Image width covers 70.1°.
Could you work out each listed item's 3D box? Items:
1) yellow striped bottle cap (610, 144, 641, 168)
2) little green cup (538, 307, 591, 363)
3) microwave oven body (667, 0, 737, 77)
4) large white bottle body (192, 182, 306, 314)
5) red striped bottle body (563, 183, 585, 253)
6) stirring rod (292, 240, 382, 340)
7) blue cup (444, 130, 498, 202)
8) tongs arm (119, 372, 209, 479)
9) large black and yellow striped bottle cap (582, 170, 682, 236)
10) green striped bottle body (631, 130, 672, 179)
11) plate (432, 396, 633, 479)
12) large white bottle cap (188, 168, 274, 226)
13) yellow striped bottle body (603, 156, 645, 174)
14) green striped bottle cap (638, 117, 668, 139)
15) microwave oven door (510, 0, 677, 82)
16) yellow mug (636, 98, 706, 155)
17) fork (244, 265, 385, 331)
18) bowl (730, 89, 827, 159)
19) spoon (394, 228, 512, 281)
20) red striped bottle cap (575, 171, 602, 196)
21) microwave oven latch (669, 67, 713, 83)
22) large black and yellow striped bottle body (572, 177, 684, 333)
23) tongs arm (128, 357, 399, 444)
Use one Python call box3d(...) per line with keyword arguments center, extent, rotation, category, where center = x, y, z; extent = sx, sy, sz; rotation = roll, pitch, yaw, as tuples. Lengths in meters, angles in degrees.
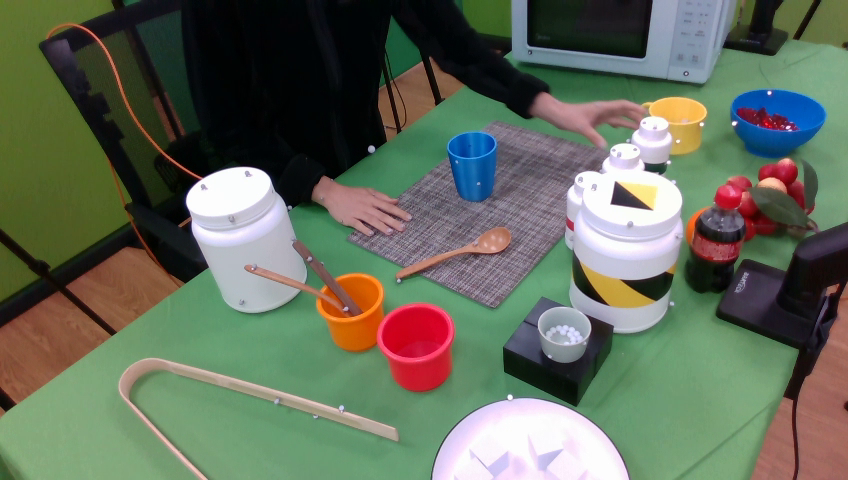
box3d(center=(0.307, -0.128, 0.923), extent=(0.044, 0.019, 0.044), rotation=(-5, 39, 5), category="yellow striped bottle cap")
box3d(center=(0.167, 0.114, 0.721), extent=(0.061, 0.039, 0.061), rotation=(-4, 43, 4), category="little green cup")
box3d(center=(0.462, -0.552, 1.369), extent=(0.439, 0.261, 0.326), rotation=(15, 45, 26), category="microwave oven body")
box3d(center=(-0.256, 0.003, 0.885), extent=(0.130, 0.185, 0.130), rotation=(-4, 40, 4), category="large white bottle body")
box3d(center=(0.246, -0.041, 0.910), extent=(0.063, 0.120, 0.062), rotation=(-2, 38, 2), category="red striped bottle body")
box3d(center=(-0.119, 0.068, 0.825), extent=(0.176, 0.006, 0.014), rotation=(49, 58, -3), category="stirring rod")
box3d(center=(0.086, -0.123, 1.040), extent=(0.092, 0.100, 0.092), rotation=(-5, 42, 5), category="blue cup")
box3d(center=(-0.258, 0.257, 0.700), extent=(0.384, 0.028, 0.028), rotation=(24, 55, 34), category="tongs arm")
box3d(center=(0.252, -0.048, 0.735), extent=(0.115, 0.019, 0.114), rotation=(-3, 40, 3), category="large black and yellow striped bottle cap")
box3d(center=(0.375, -0.140, 1.007), extent=(0.063, 0.120, 0.063), rotation=(-5, 40, 5), category="green striped bottle body")
box3d(center=(0.112, 0.261, 0.634), extent=(0.209, 0.038, 0.208), rotation=(-5, 40, 4), category="plate")
box3d(center=(-0.264, -0.061, 0.831), extent=(0.115, 0.018, 0.114), rotation=(-4, 40, 4), category="large white bottle cap")
box3d(center=(0.313, -0.089, 0.956), extent=(0.063, 0.121, 0.062), rotation=(-4, 40, 4), category="yellow striped bottle body")
box3d(center=(0.369, -0.180, 0.974), extent=(0.044, 0.020, 0.044), rotation=(-4, 41, 4), category="green striped bottle cap")
box3d(center=(0.352, -0.477, 1.289), extent=(0.353, 0.245, 0.039), rotation=(15, 44, 25), category="microwave oven door")
box3d(center=(0.453, -0.218, 1.128), extent=(0.100, 0.064, 0.129), rotation=(-34, 46, -26), category="yellow mug")
box3d(center=(-0.142, 0.078, 0.806), extent=(0.209, 0.018, 0.028), rotation=(30, 32, -23), category="fork")
box3d(center=(0.615, -0.197, 1.069), extent=(0.151, 0.077, 0.150), rotation=(-5, 40, 5), category="bowl")
box3d(center=(0.045, 0.024, 0.935), extent=(0.194, 0.022, 0.041), rotation=(-18, 66, -11), category="spoon")
box3d(center=(0.242, -0.081, 0.876), extent=(0.044, 0.018, 0.044), rotation=(-5, 44, 5), category="red striped bottle cap")
box3d(center=(0.556, -0.348, 1.261), extent=(0.078, 0.029, 0.030), rotation=(16, 46, 27), category="microwave oven latch")
box3d(center=(0.262, 0.017, 0.788), extent=(0.131, 0.185, 0.130), rotation=(-5, 40, 4), category="large black and yellow striped bottle body")
box3d(center=(-0.213, 0.205, 0.755), extent=(0.382, 0.026, 0.051), rotation=(12, 46, 23), category="tongs arm")
